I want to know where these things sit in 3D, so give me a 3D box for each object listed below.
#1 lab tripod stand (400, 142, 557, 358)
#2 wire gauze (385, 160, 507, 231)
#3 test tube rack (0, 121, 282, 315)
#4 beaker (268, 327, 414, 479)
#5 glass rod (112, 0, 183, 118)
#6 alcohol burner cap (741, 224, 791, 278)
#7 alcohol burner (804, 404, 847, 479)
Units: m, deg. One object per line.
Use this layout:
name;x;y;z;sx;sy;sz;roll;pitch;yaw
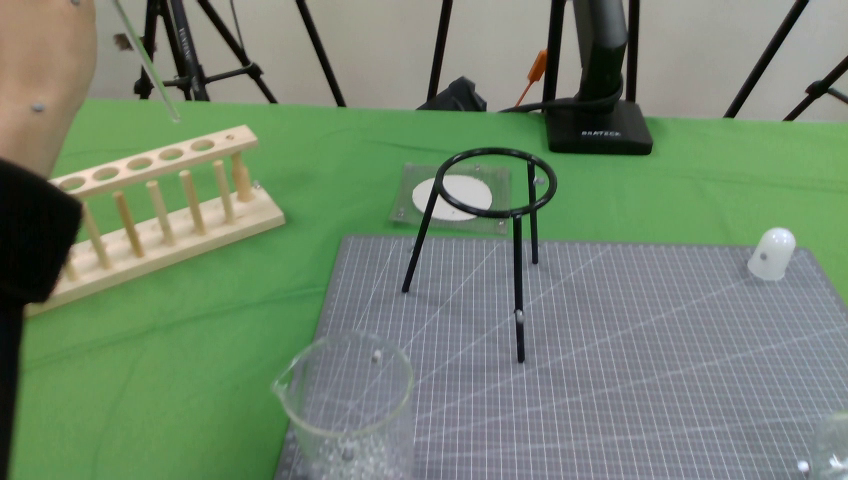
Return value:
lab tripod stand;0.049;0.001;0.484;0.148;0.133;0.147;-1;41;2
wire gauze;0.027;-0.053;0.654;0.125;0.011;0.120;4;39;7
test tube rack;-0.264;-0.027;0.562;0.243;0.086;0.066;-23;45;-25
beaker;-0.047;0.115;0.375;0.084;0.101;0.073;0;40;2
glass rod;-0.190;-0.150;0.376;0.008;0.201;0.008;-2;55;4
alcohol burner cap;0.310;0.007;0.545;0.034;0.048;0.033;0;40;0
alcohol burner;0.273;0.120;0.353;0.078;0.120;0.077;0;38;0
